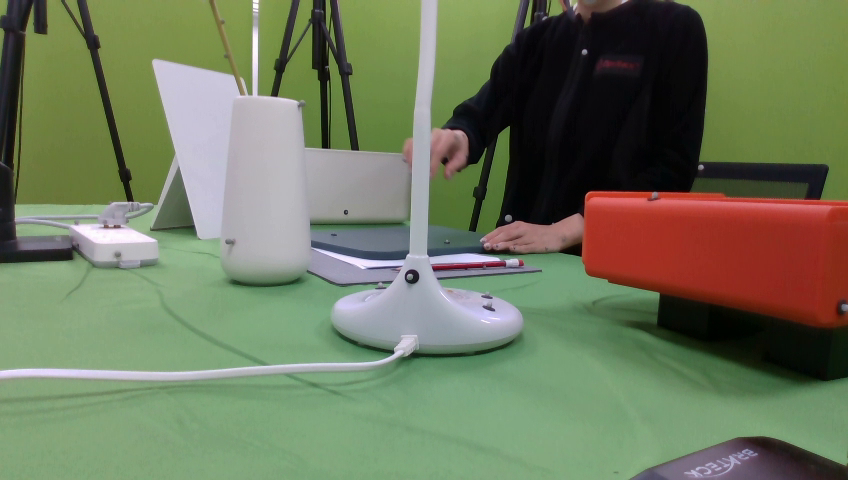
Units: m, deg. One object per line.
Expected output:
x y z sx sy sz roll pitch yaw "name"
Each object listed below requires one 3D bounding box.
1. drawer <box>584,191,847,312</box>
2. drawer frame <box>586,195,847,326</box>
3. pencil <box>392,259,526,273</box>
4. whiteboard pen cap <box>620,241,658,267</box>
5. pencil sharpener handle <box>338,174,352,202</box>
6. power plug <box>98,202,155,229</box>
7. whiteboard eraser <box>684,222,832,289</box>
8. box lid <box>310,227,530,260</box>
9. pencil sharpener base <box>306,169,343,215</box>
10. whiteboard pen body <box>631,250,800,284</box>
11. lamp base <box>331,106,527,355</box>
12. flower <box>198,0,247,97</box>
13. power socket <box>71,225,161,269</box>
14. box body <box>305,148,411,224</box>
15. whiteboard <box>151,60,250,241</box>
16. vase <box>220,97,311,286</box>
0.280 0.001 0.513 0.195 0.073 0.211 0 8 -28 "drawer"
0.284 0.004 0.508 0.203 0.082 0.212 -1 6 -28 "drawer frame"
0.049 0.035 0.782 0.195 0.012 0.012 -3 9 -25 "pencil"
0.199 0.013 0.557 0.018 0.018 0.033 -4 17 -39 "whiteboard pen cap"
-0.189 -0.126 1.459 0.031 0.067 0.036 -1 9 -30 "pencil sharpener handle"
-0.416 -0.027 0.848 0.073 0.052 0.035 0 8 -28 "power plug"
0.305 0.013 0.558 0.056 0.042 0.112 -9 19 -30 "whiteboard eraser"
-0.024 0.001 1.023 0.374 0.015 0.262 -4 9 -44 "box lid"
-0.234 -0.113 1.433 0.077 0.107 0.061 -1 6 -30 "pencil sharpener base"
0.239 0.020 0.512 0.017 0.017 0.140 -4 8 -41 "whiteboard pen body"
0.006 -0.012 0.478 0.161 0.180 0.179 2 10 2 "lamp base"
-0.187 -0.133 0.648 0.038 0.362 0.044 -1 22 43 "flower"
-0.408 0.004 0.793 0.072 0.032 0.225 -2 8 -38 "power socket"
-0.233 -0.127 1.373 0.366 0.160 0.253 -2 8 -29 "box body"
-0.408 -0.139 1.093 0.143 0.305 0.218 -15 0 25 "whiteboard"
-0.172 -0.052 0.662 0.098 0.200 0.098 3 8 0 "vase"
